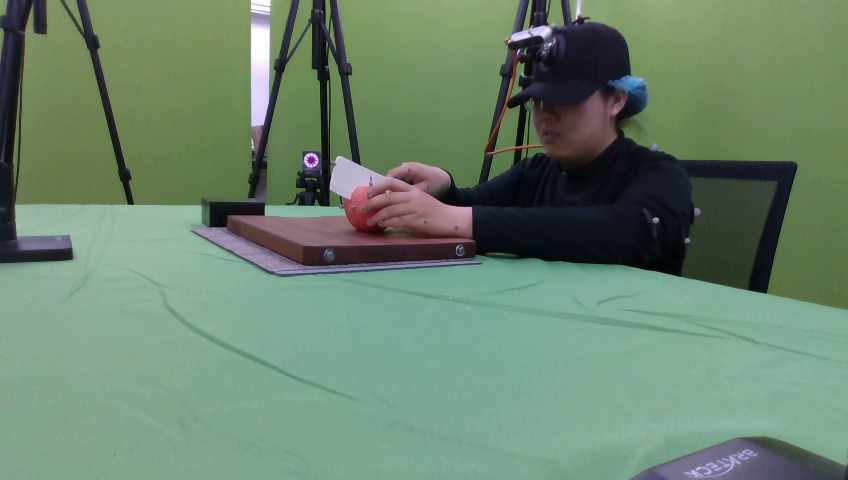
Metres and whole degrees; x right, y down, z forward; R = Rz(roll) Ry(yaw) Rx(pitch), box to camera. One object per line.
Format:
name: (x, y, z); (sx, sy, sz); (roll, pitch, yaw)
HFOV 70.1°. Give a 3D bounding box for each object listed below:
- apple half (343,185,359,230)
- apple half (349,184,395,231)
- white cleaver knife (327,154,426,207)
apple half: (-0.110, -0.054, 0.970); (0.032, 0.081, 0.081); (7, 8, 27)
apple half: (-0.074, -0.050, 0.952); (0.053, 0.074, 0.081); (11, 7, 27)
white cleaver knife: (-0.074, -0.082, 1.006); (0.021, 0.066, 0.288); (12, -1, 30)
